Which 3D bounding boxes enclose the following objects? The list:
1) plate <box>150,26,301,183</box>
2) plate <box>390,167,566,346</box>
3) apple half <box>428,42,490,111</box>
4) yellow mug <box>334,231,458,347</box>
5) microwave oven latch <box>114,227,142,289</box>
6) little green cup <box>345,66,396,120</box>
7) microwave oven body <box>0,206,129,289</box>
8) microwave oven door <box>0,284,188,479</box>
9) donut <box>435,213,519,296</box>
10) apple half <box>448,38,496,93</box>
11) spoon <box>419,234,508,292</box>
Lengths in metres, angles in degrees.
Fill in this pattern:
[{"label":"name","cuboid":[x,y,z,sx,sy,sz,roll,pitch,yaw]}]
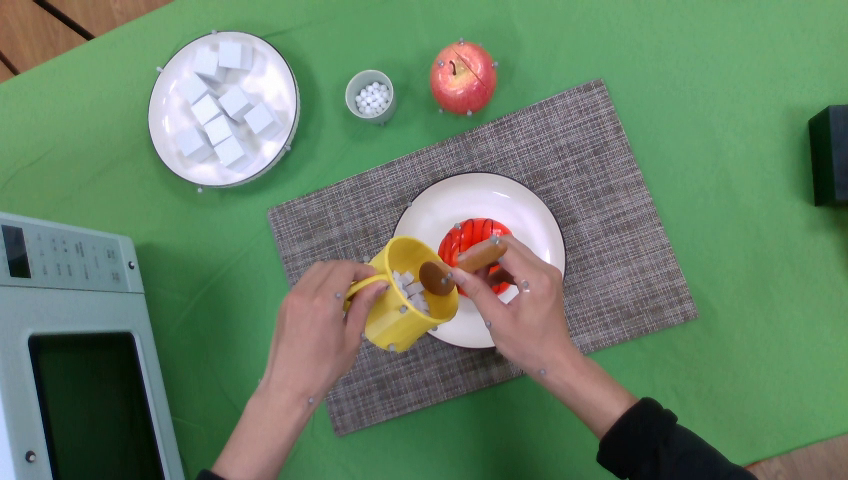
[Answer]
[{"label":"plate","cuboid":[-0.255,-0.174,0.794,0.207,0.039,0.207,-1,84,10]},{"label":"plate","cuboid":[0.061,0.019,0.713,0.209,0.038,0.208,-1,85,10]},{"label":"apple half","cuboid":[0.036,-0.187,0.724,0.053,0.075,0.080,-41,82,9]},{"label":"yellow mug","cuboid":[-0.032,0.049,0.594,0.064,0.132,0.099,-37,65,31]},{"label":"microwave oven latch","cuboid":[-0.389,0.025,0.780,0.030,0.029,0.079,-16,83,8]},{"label":"little green cup","cuboid":[-0.065,-0.181,0.759,0.061,0.039,0.061,-1,84,11]},{"label":"microwave oven body","cuboid":[-0.499,0.226,0.682,0.326,0.261,0.440,-17,82,8]},{"label":"microwave oven door","cuboid":[-0.350,0.223,0.650,0.039,0.245,0.354,-18,81,8]},{"label":"donut","cuboid":[0.061,0.017,0.702,0.099,0.048,0.099,-1,86,11]},{"label":"apple half","cuboid":[0.064,-0.212,0.720,0.033,0.081,0.081,-41,78,8]},{"label":"spoon","cuboid":[0.033,0.023,0.548,0.021,0.193,0.041,-39,91,-18]}]
